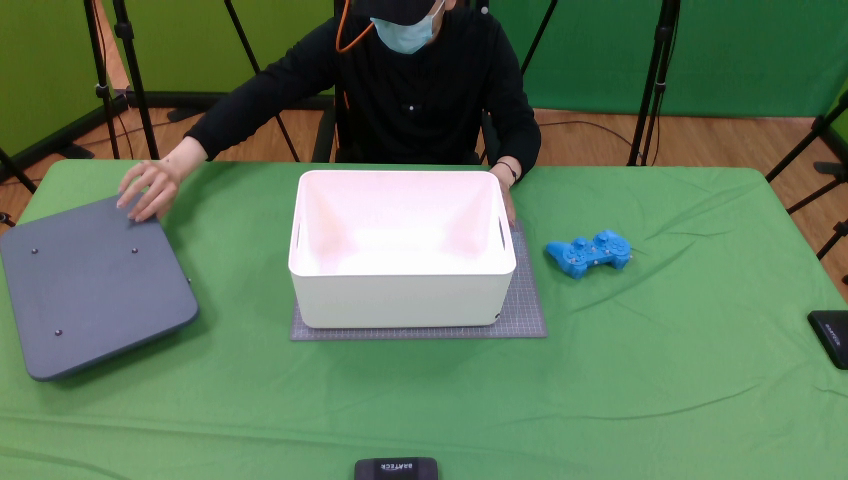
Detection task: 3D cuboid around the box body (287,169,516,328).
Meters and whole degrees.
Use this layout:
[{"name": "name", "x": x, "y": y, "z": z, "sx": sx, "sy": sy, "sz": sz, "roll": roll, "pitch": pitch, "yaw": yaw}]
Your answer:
[{"name": "box body", "x": -0.040, "y": 0.015, "z": 1.075, "sx": 0.364, "sy": 0.161, "sz": 0.252, "roll": -1, "pitch": 47, "yaw": -4}]

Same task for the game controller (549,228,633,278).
[{"name": "game controller", "x": 0.332, "y": 0.016, "z": 1.182, "sx": 0.155, "sy": 0.052, "sz": 0.096, "roll": -12, "pitch": 52, "yaw": -13}]

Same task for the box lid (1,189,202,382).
[{"name": "box lid", "x": -0.565, "y": 0.058, "z": 1.050, "sx": 0.263, "sy": 0.015, "sz": 0.369, "roll": -23, "pitch": 52, "yaw": -23}]
